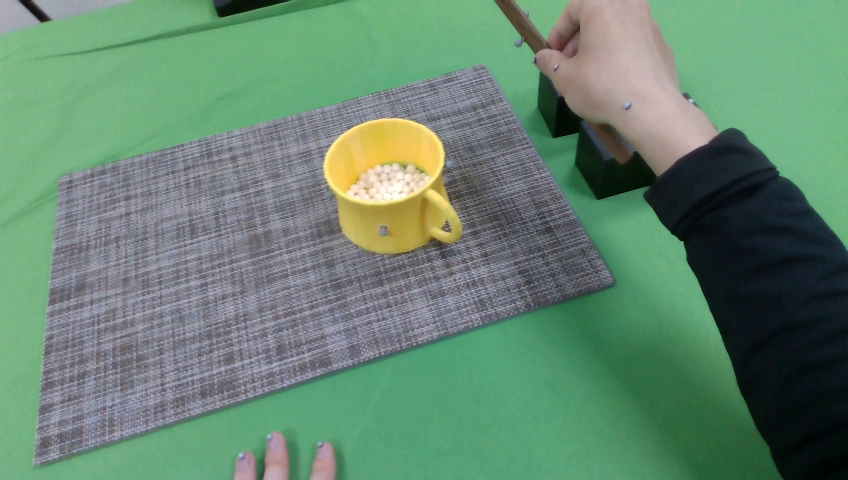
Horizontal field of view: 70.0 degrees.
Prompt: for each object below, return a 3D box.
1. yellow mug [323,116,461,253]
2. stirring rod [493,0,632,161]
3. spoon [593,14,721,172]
[{"bbox_3d":[-0.019,-0.040,0.509,0.130,0.064,0.100,34,64,26],"label":"yellow mug"},{"bbox_3d":[0.104,-0.133,0.472,0.006,0.014,0.175,-29,80,-37],"label":"stirring rod"},{"bbox_3d":[0.200,-0.132,0.525,0.041,0.022,0.191,-16,56,-7],"label":"spoon"}]
